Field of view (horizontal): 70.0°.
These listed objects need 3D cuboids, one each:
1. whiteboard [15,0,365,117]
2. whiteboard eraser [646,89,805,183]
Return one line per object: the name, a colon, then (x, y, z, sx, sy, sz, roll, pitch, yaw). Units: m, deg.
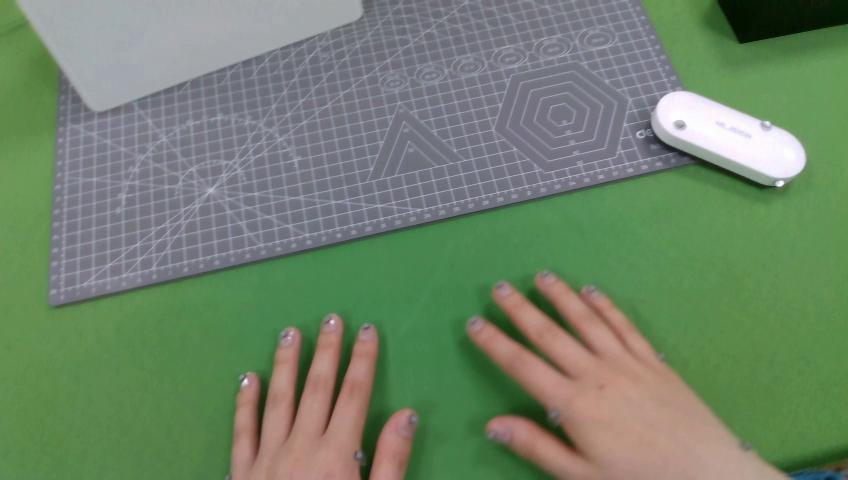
whiteboard: (-0.194, -0.278, 0.395, 0.217, 0.308, 0.142, -22, 47, -6)
whiteboard eraser: (0.202, -0.070, 0.406, 0.101, 0.019, 0.041, 25, 68, 11)
